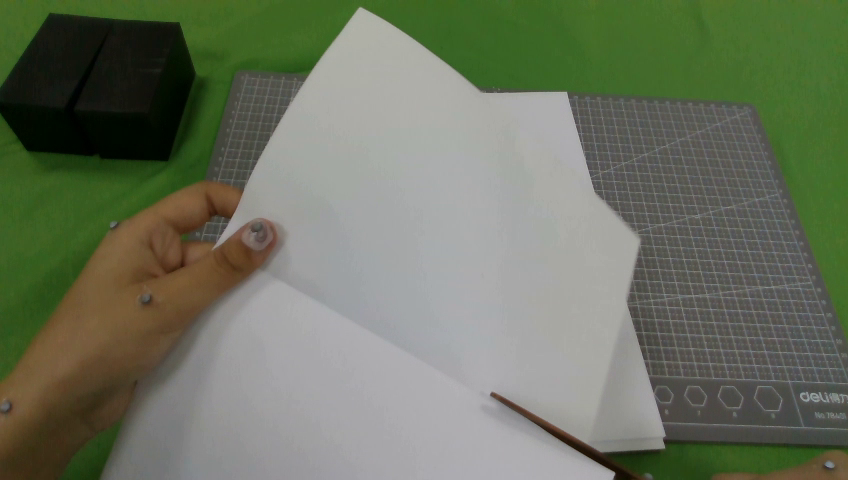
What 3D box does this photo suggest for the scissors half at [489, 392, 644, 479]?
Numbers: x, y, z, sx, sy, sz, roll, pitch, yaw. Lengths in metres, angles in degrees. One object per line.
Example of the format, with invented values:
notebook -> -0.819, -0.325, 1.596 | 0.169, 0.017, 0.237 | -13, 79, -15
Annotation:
scissors half -> 0.103, 0.113, 0.268 | 0.175, 0.040, 0.012 | 33, 75, -4

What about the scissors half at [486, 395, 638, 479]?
scissors half -> 0.104, 0.107, 0.248 | 0.174, 0.040, 0.013 | 25, 69, 17
